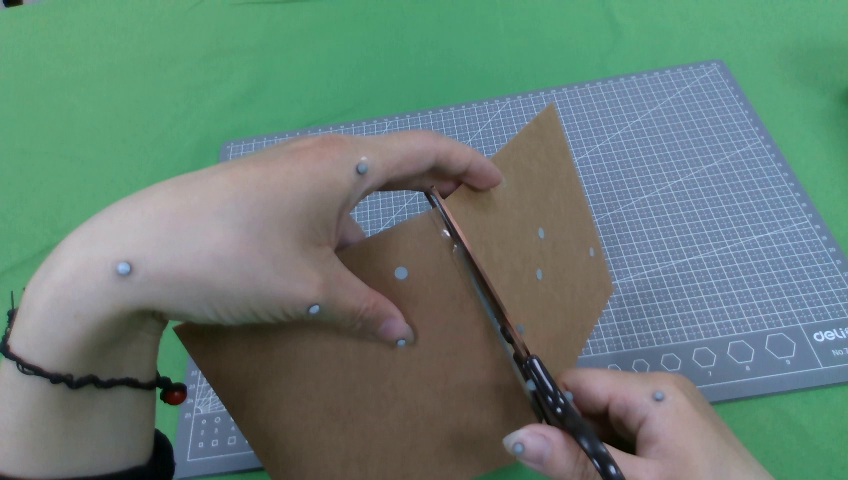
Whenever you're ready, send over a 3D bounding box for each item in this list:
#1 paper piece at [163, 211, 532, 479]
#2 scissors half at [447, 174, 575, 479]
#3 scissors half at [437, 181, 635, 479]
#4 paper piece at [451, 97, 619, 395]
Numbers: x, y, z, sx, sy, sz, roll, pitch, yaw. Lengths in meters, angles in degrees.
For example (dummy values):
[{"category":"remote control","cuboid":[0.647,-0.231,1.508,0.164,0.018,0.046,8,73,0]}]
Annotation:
[{"category":"paper piece","cuboid":[-0.028,0.072,0.294,0.138,0.137,0.008,-26,17,2]},{"category":"scissors half","cuboid":[0.043,0.051,0.282,0.013,0.176,0.040,-25,15,-13]},{"category":"scissors half","cuboid":[0.048,0.049,0.261,0.013,0.040,0.174,-25,78,-18]},{"category":"paper piece","cuboid":[0.072,0.007,0.332,0.004,0.136,0.135,-7,26,38]}]
